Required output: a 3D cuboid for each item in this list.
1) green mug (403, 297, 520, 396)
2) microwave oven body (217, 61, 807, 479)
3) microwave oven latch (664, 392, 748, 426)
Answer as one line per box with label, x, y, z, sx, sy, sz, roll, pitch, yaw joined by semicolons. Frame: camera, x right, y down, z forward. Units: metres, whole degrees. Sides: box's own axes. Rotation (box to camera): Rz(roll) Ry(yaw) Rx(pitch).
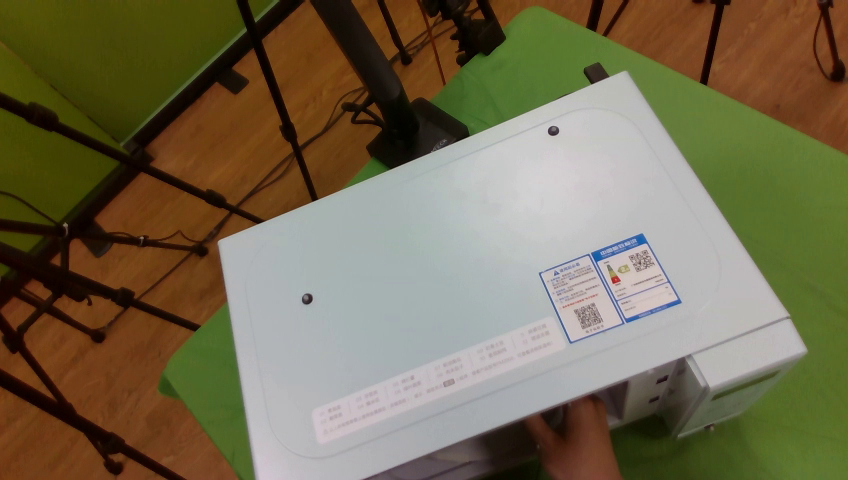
green mug;0.043;0.119;0.628;0.124;0.106;0.092;28;78;23
microwave oven body;0.064;0.075;0.635;0.441;0.263;0.322;-23;61;4
microwave oven latch;0.296;0.169;0.636;0.079;0.030;0.030;-21;62;5
